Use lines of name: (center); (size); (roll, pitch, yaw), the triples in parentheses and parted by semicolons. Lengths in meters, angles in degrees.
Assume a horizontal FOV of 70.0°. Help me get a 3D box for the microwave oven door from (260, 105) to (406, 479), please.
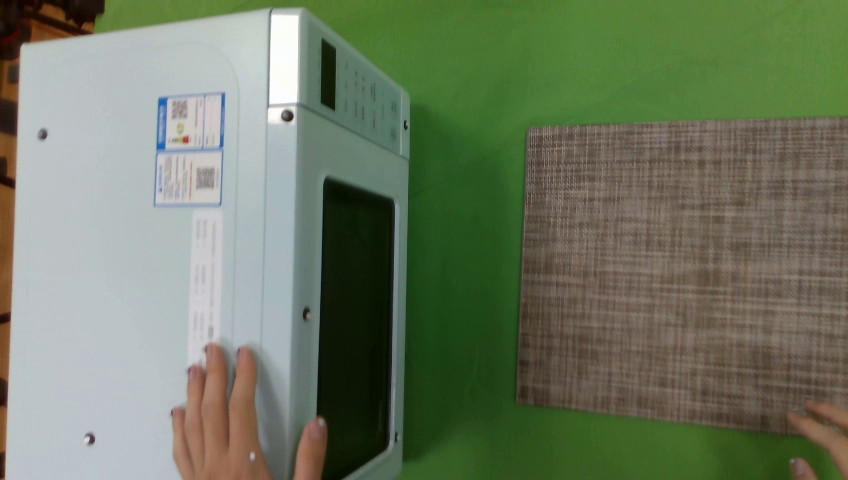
microwave oven door: (-0.076, 0.077, 0.575); (0.039, 0.245, 0.355); (0, 88, 19)

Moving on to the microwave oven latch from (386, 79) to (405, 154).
microwave oven latch: (-0.037, -0.137, 0.678); (0.030, 0.029, 0.079); (1, 89, 18)

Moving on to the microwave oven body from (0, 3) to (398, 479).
microwave oven body: (-0.212, 0.035, 0.628); (0.325, 0.261, 0.441); (0, 88, 18)
